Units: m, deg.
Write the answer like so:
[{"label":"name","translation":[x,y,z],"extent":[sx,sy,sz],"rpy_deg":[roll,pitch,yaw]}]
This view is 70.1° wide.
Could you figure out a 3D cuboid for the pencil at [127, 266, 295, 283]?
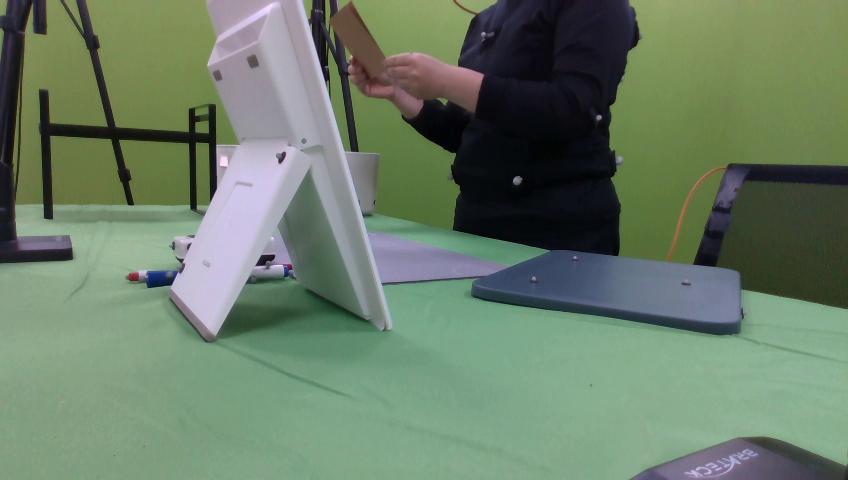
[{"label":"pencil","translation":[-0.231,0.037,0.690],"extent":[0.195,0.012,0.012],"rpy_deg":[-2,9,-34]}]

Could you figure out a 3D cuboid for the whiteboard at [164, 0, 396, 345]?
[{"label":"whiteboard","translation":[-0.173,-0.053,0.511],"extent":[0.144,0.305,0.216],"rpy_deg":[-23,19,-26]}]

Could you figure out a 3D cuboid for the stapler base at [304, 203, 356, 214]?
[{"label":"stapler base","translation":[-0.235,-0.081,1.510],"extent":[0.131,0.024,0.041],"rpy_deg":[2,9,-35]}]

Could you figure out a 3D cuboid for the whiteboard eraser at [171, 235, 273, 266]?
[{"label":"whiteboard eraser","translation":[-0.248,0.014,0.747],"extent":[0.113,0.042,0.055],"rpy_deg":[-1,10,-32]}]

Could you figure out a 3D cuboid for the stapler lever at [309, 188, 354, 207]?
[{"label":"stapler lever","translation":[-0.231,-0.106,1.509],"extent":[0.119,0.040,0.026],"rpy_deg":[3,9,-35]}]

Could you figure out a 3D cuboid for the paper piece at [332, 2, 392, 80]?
[{"label":"paper piece","translation":[-0.122,-0.376,1.159],"extent":[0.004,0.136,0.135],"rpy_deg":[-40,19,-16]}]

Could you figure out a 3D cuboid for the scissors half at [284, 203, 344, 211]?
[{"label":"scissors half","translation":[-0.280,-0.083,1.552],"extent":[0.176,0.013,0.040],"rpy_deg":[-10,6,-44]}]

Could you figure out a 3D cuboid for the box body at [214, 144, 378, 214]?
[{"label":"box body","translation":[-0.328,-0.154,1.543],"extent":[0.366,0.160,0.253],"rpy_deg":[-2,9,-32]}]

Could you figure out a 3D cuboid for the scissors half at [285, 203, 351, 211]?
[{"label":"scissors half","translation":[-0.269,-0.081,1.534],"extent":[0.176,0.013,0.040],"rpy_deg":[-7,10,-23]}]

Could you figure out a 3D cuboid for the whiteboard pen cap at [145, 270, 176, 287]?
[{"label":"whiteboard pen cap","translation":[-0.271,0.039,0.627],"extent":[0.033,0.018,0.018],"rpy_deg":[-3,9,-32]}]

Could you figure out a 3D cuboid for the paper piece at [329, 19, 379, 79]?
[{"label":"paper piece","translation":[-0.136,-0.364,1.156],"extent":[0.008,0.138,0.135],"rpy_deg":[-38,21,3]}]

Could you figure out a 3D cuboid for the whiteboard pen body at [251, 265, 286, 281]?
[{"label":"whiteboard pen body","translation":[-0.220,0.039,0.656],"extent":[0.141,0.017,0.017],"rpy_deg":[-2,9,-30]}]

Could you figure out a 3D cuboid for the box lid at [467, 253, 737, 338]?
[{"label":"box lid","translation":[0.234,0.055,0.736],"extent":[0.262,0.015,0.373],"rpy_deg":[7,8,26]}]
